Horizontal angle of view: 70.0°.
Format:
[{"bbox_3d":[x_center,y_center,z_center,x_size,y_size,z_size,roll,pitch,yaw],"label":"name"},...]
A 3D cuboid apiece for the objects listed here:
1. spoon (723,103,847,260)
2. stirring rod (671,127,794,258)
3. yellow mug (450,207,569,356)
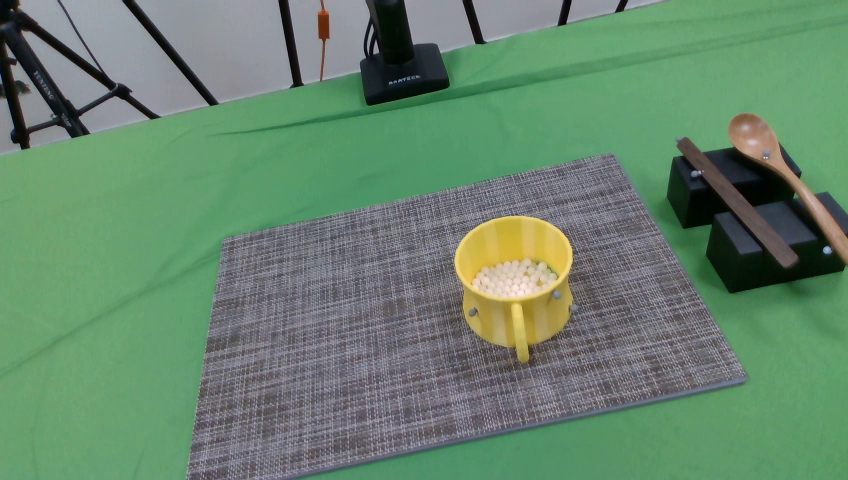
[{"bbox_3d":[0.316,-0.056,0.524,0.041,0.022,0.191,-11,47,0],"label":"spoon"},{"bbox_3d":[0.265,-0.048,0.532,0.014,0.006,0.174,-44,40,24],"label":"stirring rod"},{"bbox_3d":[0.077,0.039,0.521,0.100,0.064,0.129,-7,46,7],"label":"yellow mug"}]
